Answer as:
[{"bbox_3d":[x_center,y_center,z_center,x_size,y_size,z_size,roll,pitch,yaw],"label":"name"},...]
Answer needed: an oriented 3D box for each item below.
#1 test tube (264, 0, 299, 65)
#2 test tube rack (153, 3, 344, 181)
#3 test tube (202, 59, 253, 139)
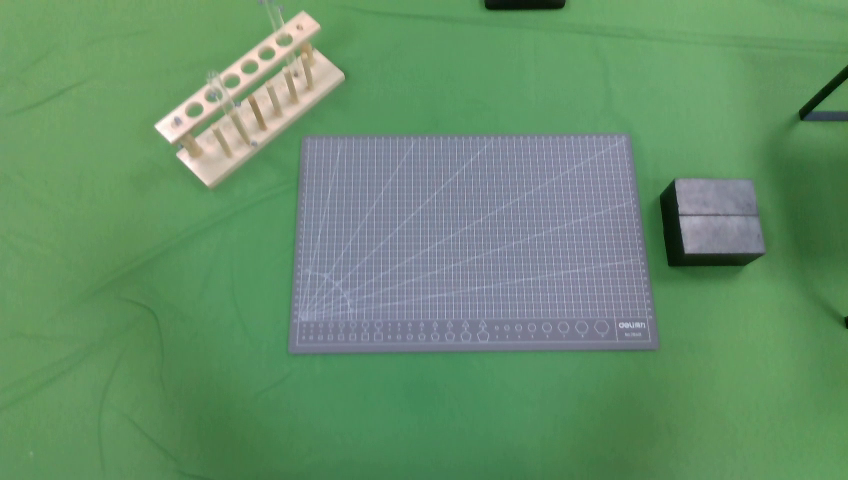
[{"bbox_3d":[-0.182,-0.273,0.767,0.017,0.151,0.017,-1,68,2],"label":"test tube"},{"bbox_3d":[-0.220,-0.193,0.792,0.066,0.085,0.242,43,75,13],"label":"test tube rack"},{"bbox_3d":[-0.236,-0.168,0.736,0.017,0.151,0.017,0,68,1],"label":"test tube"}]
